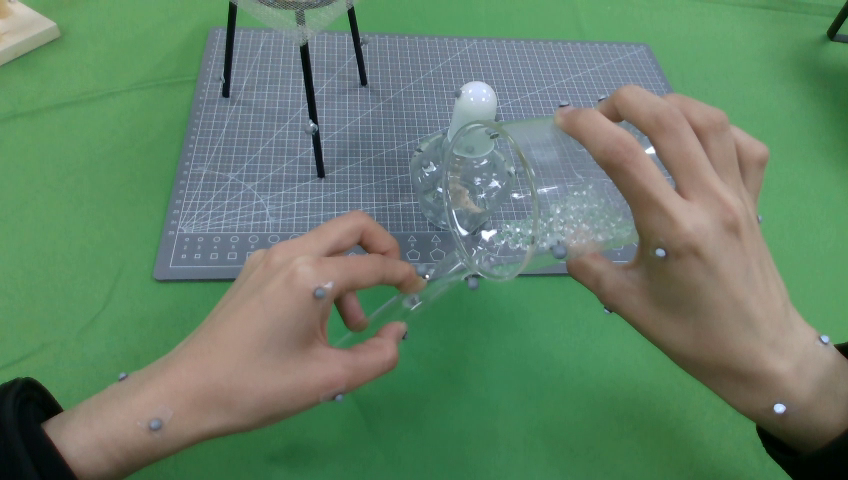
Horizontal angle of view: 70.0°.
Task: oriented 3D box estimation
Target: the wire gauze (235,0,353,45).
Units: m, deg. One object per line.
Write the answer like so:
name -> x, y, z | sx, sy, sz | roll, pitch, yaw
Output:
wire gauze -> -0.092, -0.190, 0.416 | 0.124, 0.011, 0.121 | 32, 56, 15

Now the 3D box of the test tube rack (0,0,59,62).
test tube rack -> -0.426, -0.158, 0.468 | 0.066, 0.086, 0.241 | 31, 55, 16

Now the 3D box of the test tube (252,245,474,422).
test tube -> -0.036, 0.052, 0.321 | 0.150, 0.017, 0.017 | -38, 57, 13

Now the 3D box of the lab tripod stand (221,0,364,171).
lab tripod stand -> -0.097, -0.149, 0.470 | 0.148, 0.132, 0.147 | 5, 52, -6

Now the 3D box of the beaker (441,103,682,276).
beaker -> 0.068, -0.027, 0.300 | 0.100, 0.084, 0.073 | -13, 53, -27

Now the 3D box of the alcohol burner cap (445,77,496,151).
alcohol burner cap -> 0.032, -0.085, 0.404 | 0.034, 0.048, 0.033 | 2, 57, -3

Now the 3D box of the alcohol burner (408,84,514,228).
alcohol burner -> 0.029, -0.064, 0.433 | 0.078, 0.120, 0.077 | 5, 51, -5
